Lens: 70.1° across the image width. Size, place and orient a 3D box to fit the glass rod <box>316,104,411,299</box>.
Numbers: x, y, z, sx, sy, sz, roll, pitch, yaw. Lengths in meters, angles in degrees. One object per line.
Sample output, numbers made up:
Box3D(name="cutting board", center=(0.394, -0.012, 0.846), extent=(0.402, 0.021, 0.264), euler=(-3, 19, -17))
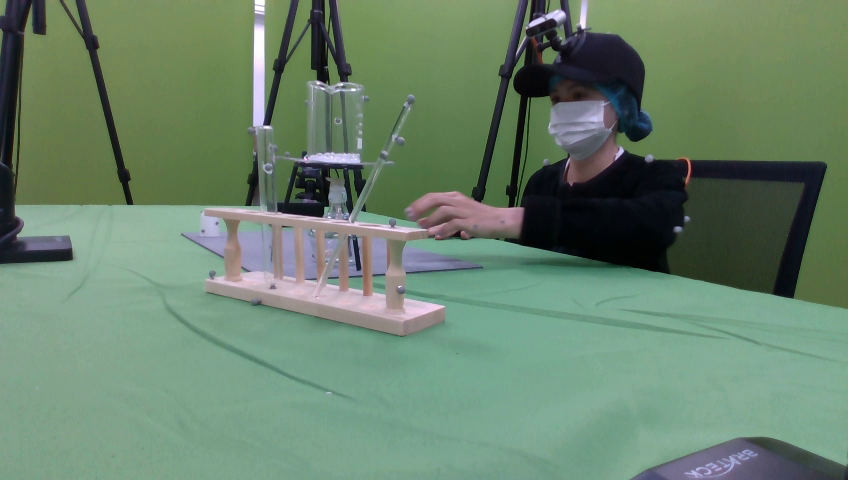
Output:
Box3D(name="glass rod", center=(-0.054, -0.026, 0.516), extent=(0.008, 0.199, 0.008), euler=(23, 24, -11))

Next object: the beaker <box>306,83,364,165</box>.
Box3D(name="beaker", center=(-0.116, -0.147, 0.775), extent=(0.074, 0.100, 0.084), euler=(2, 8, -2))

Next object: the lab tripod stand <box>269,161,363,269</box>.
Box3D(name="lab tripod stand", center=(-0.125, -0.036, 0.794), extent=(0.148, 0.131, 0.148), euler=(5, 7, 0))

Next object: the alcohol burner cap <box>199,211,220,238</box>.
Box3D(name="alcohol burner cap", center=(-0.356, -0.027, 1.002), extent=(0.034, 0.048, 0.034), euler=(3, 7, 0))

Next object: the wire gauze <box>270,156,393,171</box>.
Box3D(name="wire gauze", center=(-0.122, -0.100, 0.786), extent=(0.122, 0.011, 0.124), euler=(-5, 14, -38))

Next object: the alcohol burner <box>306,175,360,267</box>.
Box3D(name="alcohol burner", center=(-0.115, -0.025, 0.791), extent=(0.078, 0.119, 0.078), euler=(1, 8, 0))

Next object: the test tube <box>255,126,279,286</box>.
Box3D(name="test tube", center=(-0.147, -0.031, 0.566), extent=(0.017, 0.150, 0.017), euler=(-1, 8, 0))

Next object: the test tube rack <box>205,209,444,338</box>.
Box3D(name="test tube rack", center=(-0.100, 0.021, 0.565), extent=(0.241, 0.085, 0.067), euler=(7, 9, 32))
